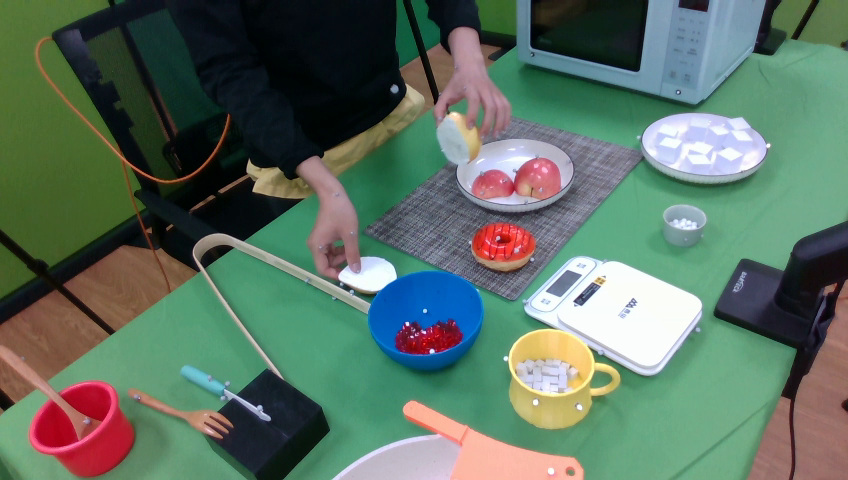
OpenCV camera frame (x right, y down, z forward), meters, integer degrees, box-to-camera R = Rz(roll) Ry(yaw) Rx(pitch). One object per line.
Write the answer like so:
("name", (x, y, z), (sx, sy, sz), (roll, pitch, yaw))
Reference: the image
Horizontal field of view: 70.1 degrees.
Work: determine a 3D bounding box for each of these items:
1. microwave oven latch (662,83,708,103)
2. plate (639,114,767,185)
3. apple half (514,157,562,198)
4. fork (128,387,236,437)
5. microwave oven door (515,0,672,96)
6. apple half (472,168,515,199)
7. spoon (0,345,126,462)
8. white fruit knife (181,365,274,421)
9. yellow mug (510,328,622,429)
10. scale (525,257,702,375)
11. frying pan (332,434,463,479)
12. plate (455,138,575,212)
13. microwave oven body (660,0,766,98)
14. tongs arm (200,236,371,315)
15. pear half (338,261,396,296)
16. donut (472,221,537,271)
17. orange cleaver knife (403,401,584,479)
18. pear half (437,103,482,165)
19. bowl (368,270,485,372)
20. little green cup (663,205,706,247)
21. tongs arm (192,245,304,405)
("microwave oven latch", (0.518, -0.297, 1.204), (0.078, 0.029, 0.030), (29, 53, 36))
("plate", (0.489, -0.157, 1.074), (0.207, 0.039, 0.206), (-4, 40, 4))
("apple half", (0.196, -0.113, 1.032), (0.080, 0.053, 0.075), (16, 44, 30))
("fork", (-0.305, 0.207, 0.744), (0.206, 0.019, 0.028), (3, 40, 36))
("microwave oven door", (0.343, -0.455, 1.259), (0.353, 0.245, 0.039), (26, 51, 33))
("apple half", (0.119, -0.106, 1.055), (0.081, 0.033, 0.081), (-4, 41, 4))
("spoon", (-0.434, 0.192, 0.720), (0.194, 0.021, 0.042), (47, 53, -7))
("white fruit knife", (-0.245, 0.187, 0.747), (0.205, 0.027, 0.016), (9, 42, 40))
("yellow mug", (0.168, 0.164, 0.721), (0.130, 0.064, 0.099), (0, 40, 8))
("scale", (0.254, 0.091, 0.821), (0.199, 0.032, 0.149), (28, 51, 35))
("frying pan", (-0.089, 0.306, 0.564), (0.487, 0.103, 0.306), (10, 41, 7))
("plate", (0.159, -0.111, 1.063), (0.209, 0.038, 0.208), (-4, 40, 4))
("microwave oven body", (0.472, -0.513, 1.317), (0.438, 0.261, 0.327), (26, 51, 34))
("tongs arm", (-0.209, 0.063, 0.924), (0.381, 0.027, 0.051), (23, 54, 32))
("pear half", (-0.087, 0.063, 0.907), (0.088, 0.031, 0.070), (-6, 33, -23))
("donut", (0.123, 0.008, 0.923), (0.099, 0.048, 0.098), (-3, 38, 3))
("orange cleaver knife", (0.062, 0.222, 0.609), (0.210, 0.012, 0.077), (15, 49, 25))
("pear half", (0.057, -0.177, 0.957), (0.076, 0.110, 0.056), (26, 62, 33))
("bowl", (0.007, 0.118, 0.791), (0.151, 0.077, 0.150), (-5, 40, 4))
("little green cup", (0.396, -0.020, 0.926), (0.061, 0.039, 0.061), (-4, 40, 4))
("tongs arm", (-0.268, 0.111, 0.883), (0.028, 0.028, 0.384), (-36, 47, -18))
